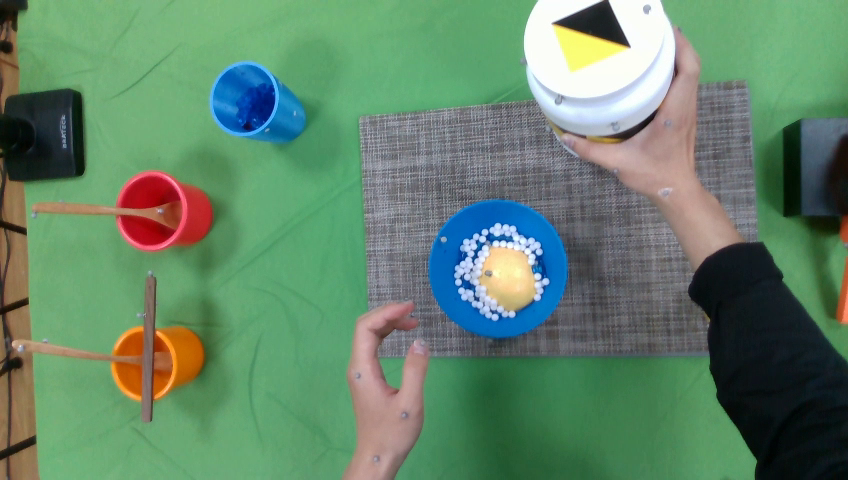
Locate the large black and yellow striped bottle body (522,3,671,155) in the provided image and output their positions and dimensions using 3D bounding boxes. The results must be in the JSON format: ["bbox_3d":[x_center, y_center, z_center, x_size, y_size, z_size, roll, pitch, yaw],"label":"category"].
[{"bbox_3d":[0.168,-0.167,0.581,0.130,0.185,0.130,-3,81,21],"label":"large black and yellow striped bottle body"}]

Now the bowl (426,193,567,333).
[{"bbox_3d":[0.083,0.025,0.682,0.151,0.077,0.151,0,90,11],"label":"bowl"}]

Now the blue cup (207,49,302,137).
[{"bbox_3d":[-0.194,-0.163,0.725,0.092,0.100,0.092,0,90,13],"label":"blue cup"}]

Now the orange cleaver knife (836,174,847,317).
[{"bbox_3d":[0.439,-0.021,0.617,0.012,0.077,0.213,-1,119,16],"label":"orange cleaver knife"}]

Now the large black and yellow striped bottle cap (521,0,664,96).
[{"bbox_3d":[0.138,-0.178,0.503,0.114,0.019,0.114,-3,83,22],"label":"large black and yellow striped bottle cap"}]

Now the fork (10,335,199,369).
[{"bbox_3d":[-0.381,0.136,0.736,0.209,0.018,0.028,15,103,-33],"label":"fork"}]

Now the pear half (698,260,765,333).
[{"bbox_3d":[0.315,0.058,0.622,0.056,0.111,0.075,-22,65,11],"label":"pear half"}]

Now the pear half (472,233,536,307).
[{"bbox_3d":[0.086,0.031,0.676,0.070,0.031,0.087,-29,81,7],"label":"pear half"}]

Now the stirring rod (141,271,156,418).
[{"bbox_3d":[-0.330,0.125,0.725,0.014,0.006,0.176,2,91,8],"label":"stirring rod"}]

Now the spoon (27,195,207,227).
[{"bbox_3d":[-0.367,-0.040,0.737,0.195,0.021,0.041,3,93,-33],"label":"spoon"}]
